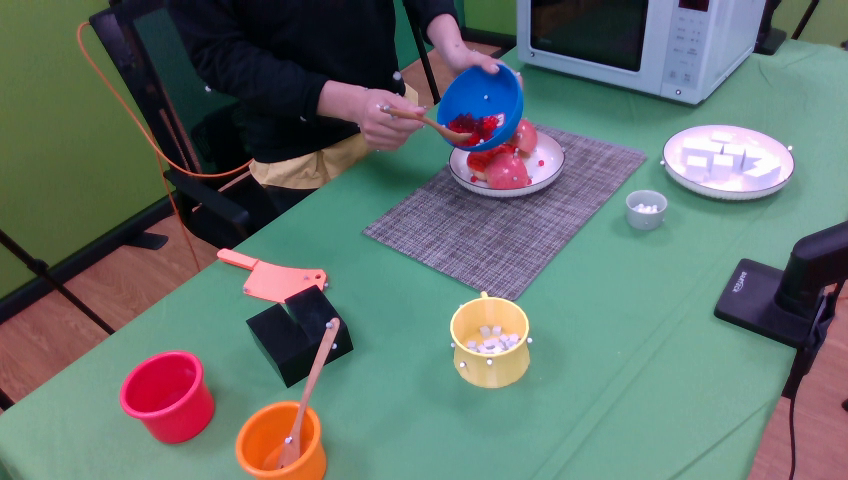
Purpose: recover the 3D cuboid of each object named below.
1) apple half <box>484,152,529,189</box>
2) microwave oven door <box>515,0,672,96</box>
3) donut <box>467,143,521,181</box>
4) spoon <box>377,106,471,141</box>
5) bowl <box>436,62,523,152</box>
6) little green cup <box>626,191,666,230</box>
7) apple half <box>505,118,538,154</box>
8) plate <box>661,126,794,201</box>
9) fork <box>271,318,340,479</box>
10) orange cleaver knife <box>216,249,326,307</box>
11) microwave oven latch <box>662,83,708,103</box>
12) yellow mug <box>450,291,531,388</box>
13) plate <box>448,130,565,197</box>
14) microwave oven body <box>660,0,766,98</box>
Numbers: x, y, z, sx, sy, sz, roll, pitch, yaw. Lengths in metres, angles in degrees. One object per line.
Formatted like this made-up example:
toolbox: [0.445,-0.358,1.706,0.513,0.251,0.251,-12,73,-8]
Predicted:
apple half: [0.144,-0.117,1.032,0.081,0.033,0.081,2,78,-10]
microwave oven door: [0.344,-0.455,1.259,0.353,0.245,0.039,26,51,33]
donut: [0.126,-0.144,1.090,0.099,0.048,0.098,-5,37,5]
spoon: [0.003,-0.172,0.888,0.041,0.021,0.195,12,1,42]
bowl: [0.102,-0.203,0.988,0.150,0.077,0.151,-12,66,30]
little green cup: [0.352,-0.046,0.963,0.061,0.039,0.061,-4,40,4]
apple half: [0.176,-0.197,1.113,0.080,0.053,0.075,28,12,34]
plate: [0.513,-0.128,1.035,0.207,0.039,0.206,-4,40,4]
fork: [-0.132,0.186,0.676,0.028,0.019,0.207,18,90,28]
orange cleaver knife: [-0.248,0.058,0.945,0.210,0.012,0.077,13,50,19]
microwave oven latch: [0.518,-0.296,1.204,0.078,0.029,0.030,28,52,35]
yellow mug: [0.085,0.120,0.786,0.100,0.064,0.130,-7,39,1]
plate: [0.150,-0.138,1.096,0.209,0.038,0.208,-4,40,4]
microwave oven body: [0.472,-0.513,1.317,0.438,0.261,0.327,26,51,34]
